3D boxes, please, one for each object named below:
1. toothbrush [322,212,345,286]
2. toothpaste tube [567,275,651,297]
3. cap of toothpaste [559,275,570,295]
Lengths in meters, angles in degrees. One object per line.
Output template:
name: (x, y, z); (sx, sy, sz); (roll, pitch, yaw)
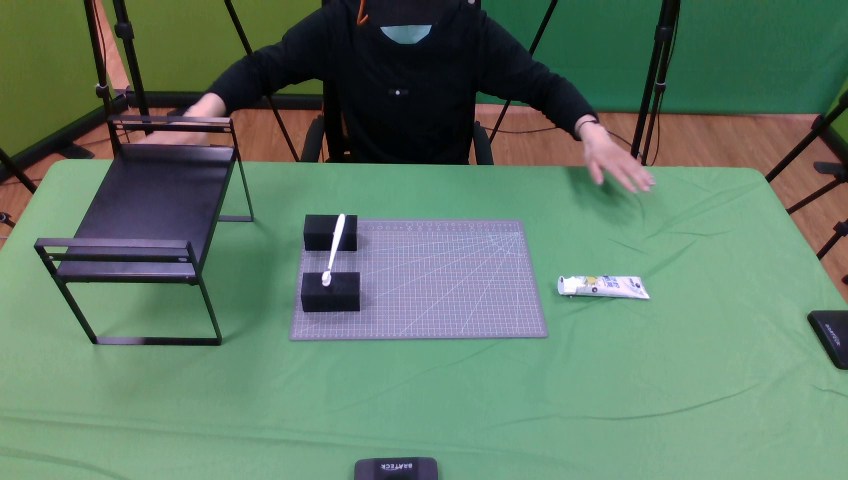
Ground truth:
toothbrush: (-0.164, 0.011, 1.101); (0.014, 0.017, 0.181); (-6, 44, 12)
toothpaste tube: (0.339, 0.085, 1.132); (0.165, 0.035, 0.054); (0, 49, -9)
cap of toothpaste: (0.261, 0.083, 1.120); (0.011, 0.037, 0.037); (0, 47, -9)
